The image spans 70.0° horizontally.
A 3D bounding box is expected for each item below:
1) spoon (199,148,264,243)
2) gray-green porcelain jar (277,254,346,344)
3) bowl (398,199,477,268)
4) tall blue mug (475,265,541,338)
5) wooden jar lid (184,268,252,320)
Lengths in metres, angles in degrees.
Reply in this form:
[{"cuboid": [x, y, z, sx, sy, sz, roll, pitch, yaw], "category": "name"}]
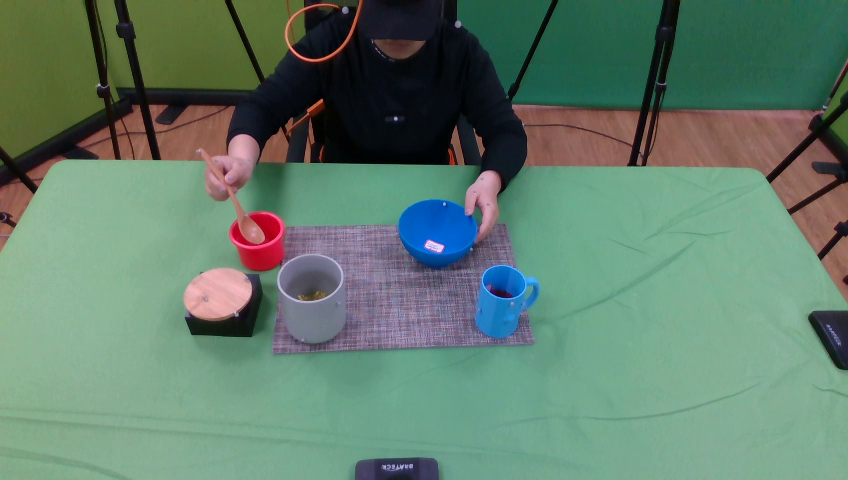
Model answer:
[{"cuboid": [-0.342, -0.078, 1.077, 0.021, 0.194, 0.041, -13, 20, 35], "category": "spoon"}, {"cuboid": [-0.184, 0.102, 1.008, 0.106, 0.127, 0.105, 2, 46, -2], "category": "gray-green porcelain jar"}, {"cuboid": [0.024, -0.001, 1.157, 0.151, 0.077, 0.150, 2, 46, -2], "category": "bowl"}, {"cuboid": [0.142, 0.098, 1.047, 0.077, 0.108, 0.107, 33, 53, 27], "category": "tall blue mug"}, {"cuboid": [-0.343, 0.092, 1.015, 0.108, 0.021, 0.107, 3, 46, -3], "category": "wooden jar lid"}]
